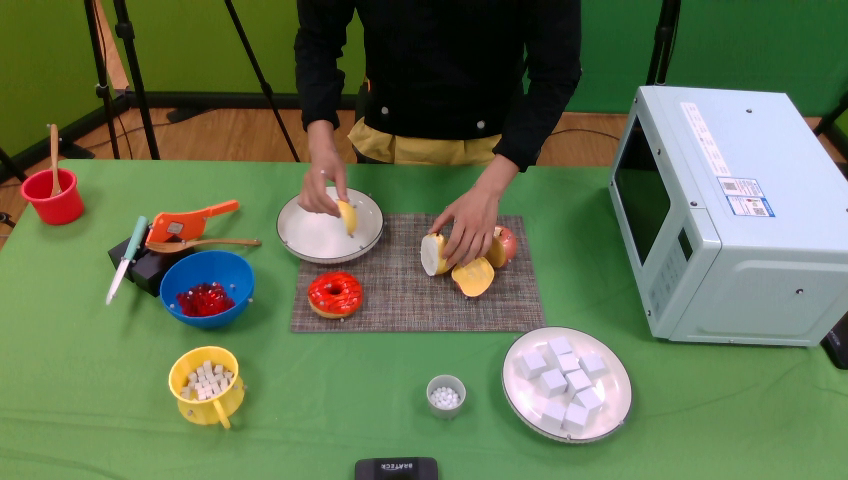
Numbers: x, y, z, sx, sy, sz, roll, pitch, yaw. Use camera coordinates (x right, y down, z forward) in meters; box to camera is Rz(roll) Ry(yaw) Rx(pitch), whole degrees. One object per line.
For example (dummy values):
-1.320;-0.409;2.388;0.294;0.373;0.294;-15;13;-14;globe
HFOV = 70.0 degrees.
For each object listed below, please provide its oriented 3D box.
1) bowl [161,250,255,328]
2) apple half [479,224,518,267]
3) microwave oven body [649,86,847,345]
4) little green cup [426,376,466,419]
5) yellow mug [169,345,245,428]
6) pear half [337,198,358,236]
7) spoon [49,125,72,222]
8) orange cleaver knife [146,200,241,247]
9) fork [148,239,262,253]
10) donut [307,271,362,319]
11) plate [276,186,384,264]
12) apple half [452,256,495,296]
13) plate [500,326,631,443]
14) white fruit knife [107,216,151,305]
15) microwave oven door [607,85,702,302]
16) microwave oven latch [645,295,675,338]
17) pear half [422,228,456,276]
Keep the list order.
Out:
-0.362;0.097;1.040;0.151;0.077;0.150;2;45;-2;bowl
0.148;0.008;1.160;0.053;0.075;0.080;-24;48;-30;apple half
0.568;-0.053;1.118;0.326;0.261;0.439;2;45;-1;microwave oven body
0.033;0.248;0.950;0.061;0.039;0.061;2;46;-2;little green cup
-0.322;0.230;0.922;0.100;0.064;0.130;-24;53;-25;yellow mug
-0.134;-0.043;1.085;0.031;0.070;0.088;-11;6;-6;pear half
-0.717;-0.131;1.189;0.042;0.021;0.193;-3;90;-8;spoon
-0.435;-0.033;1.157;0.012;0.077;0.211;31;26;19;orange cleaver knife
-0.398;0.008;1.117;0.208;0.019;0.028;-5;34;-37;fork
-0.157;0.097;1.073;0.099;0.048;0.098;4;45;-4;donut
-0.184;-0.027;1.195;0.209;0.038;0.208;2;46;-2;plate
0.095;0.070;1.119;0.081;0.033;0.081;-7;63;13;apple half
0.224;0.233;0.978;0.208;0.039;0.206;2;46;-2;plate
-0.518;0.032;1.066;0.027;0.016;0.206;-18;45;19;white fruit knife
0.423;-0.094;1.140;0.039;0.245;0.353;2;46;-1;microwave oven door
0.412;0.134;1.061;0.030;0.029;0.078;3;45;0;microwave oven latch
0.033;0.013;1.121;0.056;0.110;0.076;-19;57;-24;pear half
